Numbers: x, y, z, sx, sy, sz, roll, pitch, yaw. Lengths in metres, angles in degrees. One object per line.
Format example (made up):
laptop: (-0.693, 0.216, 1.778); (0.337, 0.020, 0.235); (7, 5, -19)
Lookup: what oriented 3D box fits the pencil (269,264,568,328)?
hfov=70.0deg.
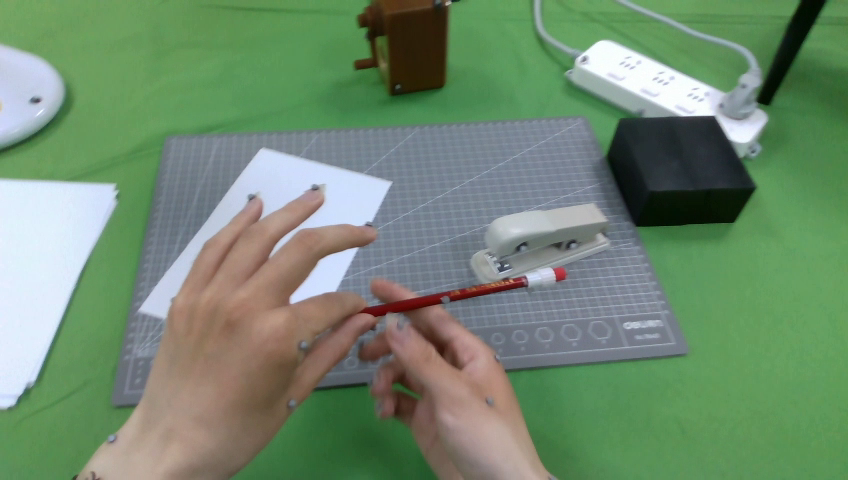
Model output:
pencil: (0.002, 0.036, 0.380); (0.194, 0.012, 0.012); (-9, 53, -15)

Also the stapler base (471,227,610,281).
stapler base: (0.106, 0.001, 0.541); (0.131, 0.024, 0.041); (-17, 56, -17)

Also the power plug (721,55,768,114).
power plug: (0.346, -0.156, 0.643); (0.072, 0.053, 0.035); (-32, 60, -23)

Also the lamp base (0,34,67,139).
lamp base: (-0.468, -0.211, 0.582); (0.160, 0.182, 0.177); (-31, 57, -24)

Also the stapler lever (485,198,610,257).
stapler lever: (0.108, -0.015, 0.522); (0.118, 0.040, 0.026); (-17, 56, -17)

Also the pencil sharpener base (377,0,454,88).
pencil sharpener base: (-0.014, -0.230, 0.666); (0.077, 0.108, 0.060); (-13, 54, -12)

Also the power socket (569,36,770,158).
power socket: (0.271, -0.164, 0.676); (0.225, 0.033, 0.072); (36, 58, 23)

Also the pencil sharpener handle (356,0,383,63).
pencil sharpener handle: (-0.061, -0.222, 0.641); (0.031, 0.068, 0.035); (-13, 31, -12)
